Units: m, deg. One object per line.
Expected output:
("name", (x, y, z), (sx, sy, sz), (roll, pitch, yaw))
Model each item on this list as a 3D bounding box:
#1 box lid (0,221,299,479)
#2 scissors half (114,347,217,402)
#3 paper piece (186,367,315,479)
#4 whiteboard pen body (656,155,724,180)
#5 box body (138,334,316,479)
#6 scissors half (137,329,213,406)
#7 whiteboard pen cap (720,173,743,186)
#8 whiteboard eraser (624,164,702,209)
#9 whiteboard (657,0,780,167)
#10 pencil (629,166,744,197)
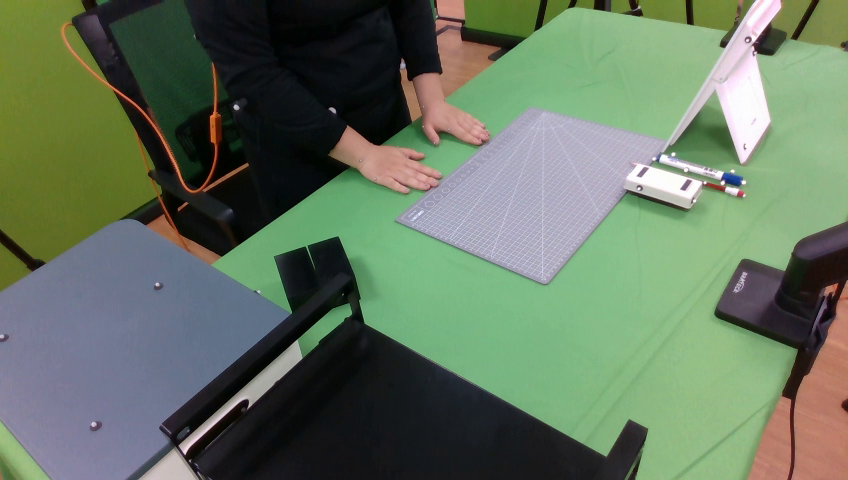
("box lid", (-0.346, 0.106, 0.679), (0.368, 0.015, 0.264), (23, 49, 31))
("scissors half", (-0.349, 0.185, 0.812), (0.174, 0.013, 0.040), (16, 52, 18))
("paper piece", (-0.222, 0.234, 0.757), (0.136, 0.009, 0.137), (-38, 35, -23))
("whiteboard pen body", (0.474, -0.123, 1.051), (0.139, 0.017, 0.017), (24, 49, 32))
("box body", (-0.340, 0.162, 0.728), (0.361, 0.161, 0.255), (23, 48, 31))
("scissors half", (-0.336, 0.173, 0.824), (0.040, 0.013, 0.174), (-35, 54, -30))
("whiteboard pen cap", (0.519, -0.103, 1.020), (0.033, 0.018, 0.018), (23, 49, 30))
("whiteboard eraser", (0.396, -0.086, 1.003), (0.112, 0.042, 0.056), (22, 47, 31))
("whiteboard", (0.571, -0.272, 1.038), (0.143, 0.306, 0.218), (37, 54, 17))
("pencil", (0.446, -0.103, 1.038), (0.192, 0.012, 0.012), (20, 48, 29))
